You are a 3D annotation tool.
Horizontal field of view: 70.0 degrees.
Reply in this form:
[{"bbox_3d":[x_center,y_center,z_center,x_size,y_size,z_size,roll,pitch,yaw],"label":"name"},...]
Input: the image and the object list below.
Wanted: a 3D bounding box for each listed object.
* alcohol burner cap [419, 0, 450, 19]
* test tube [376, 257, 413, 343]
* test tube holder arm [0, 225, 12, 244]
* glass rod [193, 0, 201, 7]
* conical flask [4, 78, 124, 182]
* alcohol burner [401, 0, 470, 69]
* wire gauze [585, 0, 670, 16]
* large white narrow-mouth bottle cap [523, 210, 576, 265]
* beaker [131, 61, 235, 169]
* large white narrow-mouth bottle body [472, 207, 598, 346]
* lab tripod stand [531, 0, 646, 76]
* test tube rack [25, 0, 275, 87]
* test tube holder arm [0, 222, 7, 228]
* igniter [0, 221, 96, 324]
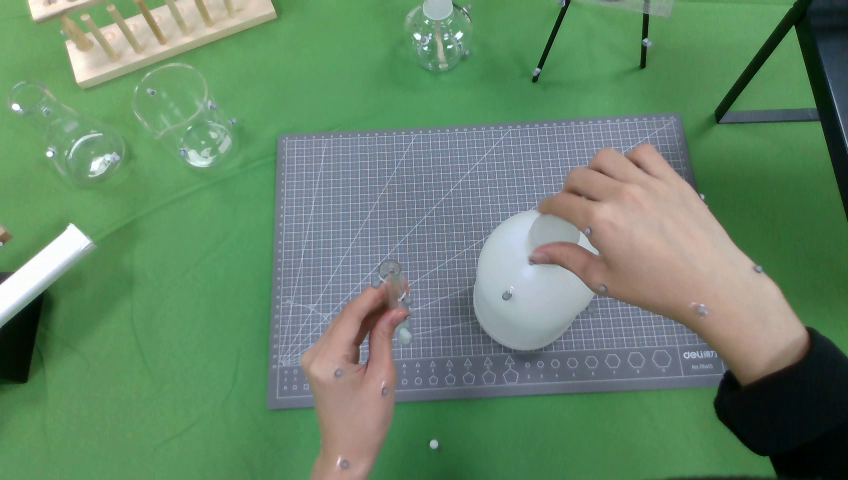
[{"bbox_3d":[0.011,-0.258,0.630,0.034,0.048,0.033,0,69,1],"label":"alcohol burner cap"},{"bbox_3d":[-0.020,0.050,0.456,0.017,0.151,0.017,-1,64,2],"label":"test tube"},{"bbox_3d":[-0.437,0.020,0.580,0.010,0.015,0.087,41,76,14],"label":"test tube holder arm"},{"bbox_3d":[-0.286,-0.325,0.643,0.008,0.201,0.008,-3,64,7],"label":"glass rod"},{"bbox_3d":[-0.373,-0.116,0.622,0.075,0.122,0.075,0,70,2],"label":"conical flask"},{"bbox_3d":[0.013,-0.245,0.664,0.078,0.120,0.077,0,69,0],"label":"alcohol burner"},{"bbox_3d":[0.188,-0.277,0.589,0.121,0.011,0.124,18,73,6],"label":"wire gauze"},{"bbox_3d":[0.090,-0.002,0.432,0.038,0.024,0.037,0,72,2],"label":"large white narrow-mouth bottle cap"},{"bbox_3d":[-0.247,-0.123,0.635,0.074,0.101,0.083,12,71,6],"label":"beaker"},{"bbox_3d":[0.094,0.028,0.521,0.102,0.196,0.101,-1,71,2],"label":"large white narrow-mouth bottle body"},{"bbox_3d":[0.182,-0.252,0.652,0.148,0.132,0.147,0,69,0],"label":"lab tripod stand"},{"bbox_3d":[-0.305,-0.267,0.694,0.242,0.086,0.066,-23,71,-7],"label":"test tube rack"},{"bbox_3d":[-0.472,0.048,0.571,0.013,0.015,0.178,40,75,14],"label":"test tube holder arm"},{"bbox_3d":[-0.424,0.087,0.553,0.057,0.025,0.276,40,73,12],"label":"igniter"}]
